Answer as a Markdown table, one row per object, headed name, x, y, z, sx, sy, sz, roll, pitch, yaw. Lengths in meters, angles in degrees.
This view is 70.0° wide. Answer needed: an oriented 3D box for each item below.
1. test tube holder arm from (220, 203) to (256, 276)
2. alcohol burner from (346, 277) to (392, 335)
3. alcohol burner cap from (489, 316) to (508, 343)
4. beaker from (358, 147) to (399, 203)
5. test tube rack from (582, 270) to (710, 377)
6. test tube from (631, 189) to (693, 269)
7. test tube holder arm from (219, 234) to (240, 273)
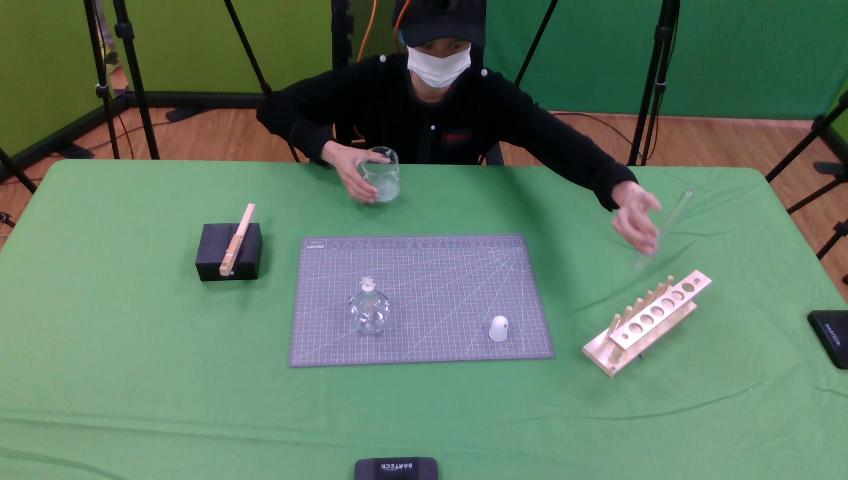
| name | x | y | z | sx | sy | sz | roll | pitch | yaw |
| --- | --- | --- | --- | --- | --- | --- | --- | --- | --- |
| test tube holder arm | -0.340 | -0.005 | 1.112 | 0.015 | 0.013 | 0.177 | 5 | 46 | 2 |
| alcohol burner | -0.093 | 0.106 | 1.021 | 0.078 | 0.120 | 0.077 | 1 | 46 | -1 |
| alcohol burner cap | 0.130 | 0.151 | 1.045 | 0.034 | 0.048 | 0.033 | 2 | 46 | -2 |
| beaker | -0.086 | -0.128 | 1.229 | 0.083 | 0.101 | 0.074 | 28 | 62 | 18 |
| test tube rack | 0.389 | 0.132 | 1.057 | 0.242 | 0.085 | 0.066 | -28 | 54 | -28 |
| test tube | 0.374 | -0.016 | 0.952 | 0.017 | 0.150 | 0.017 | 22 | 26 | -11 |
| test tube holder arm | -0.344 | 0.023 | 1.076 | 0.015 | 0.010 | 0.087 | 5 | 45 | 2 |
